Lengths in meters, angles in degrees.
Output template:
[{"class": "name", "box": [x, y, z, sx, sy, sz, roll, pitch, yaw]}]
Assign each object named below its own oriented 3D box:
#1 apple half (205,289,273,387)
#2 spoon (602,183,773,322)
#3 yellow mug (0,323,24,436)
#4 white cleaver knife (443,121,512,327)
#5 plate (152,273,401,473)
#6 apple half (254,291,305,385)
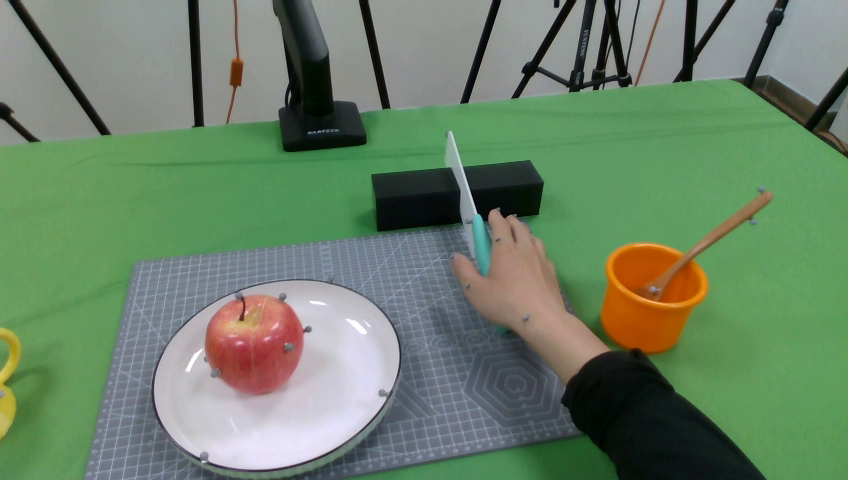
[{"class": "apple half", "box": [-0.158, 0.085, 0.522, 0.053, 0.075, 0.080, -2, 43, 3]}, {"class": "spoon", "box": [0.250, 0.014, 0.580, 0.022, 0.194, 0.041, 32, 21, -36]}, {"class": "yellow mug", "box": [-0.389, 0.119, 0.497, 0.099, 0.064, 0.130, 16, 41, 17]}, {"class": "white cleaver knife", "box": [0.053, -0.025, 0.676, 0.021, 0.066, 0.283, -5, 50, -7]}, {"class": "plate", "box": [-0.124, 0.112, 0.532, 0.209, 0.038, 0.207, 1, 40, -1]}, {"class": "apple half", "box": [-0.119, 0.085, 0.522, 0.033, 0.082, 0.080, -3, 40, 3]}]
